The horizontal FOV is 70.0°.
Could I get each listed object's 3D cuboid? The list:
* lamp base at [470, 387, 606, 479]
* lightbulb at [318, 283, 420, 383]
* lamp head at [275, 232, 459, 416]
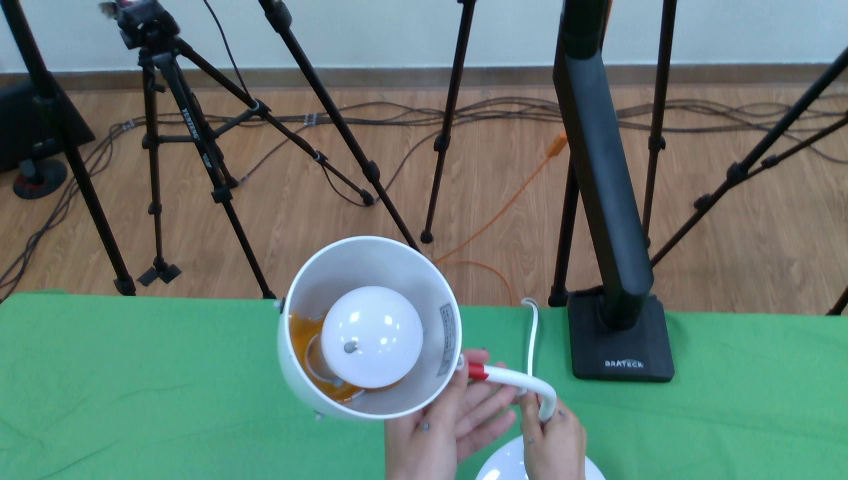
[{"bbox_3d":[0.119,0.235,0.604,0.161,0.182,0.177,-9,52,-2],"label":"lamp base"},{"bbox_3d":[-0.042,0.063,0.383,0.060,0.107,0.059,8,70,-23],"label":"lightbulb"},{"bbox_3d":[-0.046,0.067,0.407,0.113,0.123,0.111,7,66,-17],"label":"lamp head"}]
